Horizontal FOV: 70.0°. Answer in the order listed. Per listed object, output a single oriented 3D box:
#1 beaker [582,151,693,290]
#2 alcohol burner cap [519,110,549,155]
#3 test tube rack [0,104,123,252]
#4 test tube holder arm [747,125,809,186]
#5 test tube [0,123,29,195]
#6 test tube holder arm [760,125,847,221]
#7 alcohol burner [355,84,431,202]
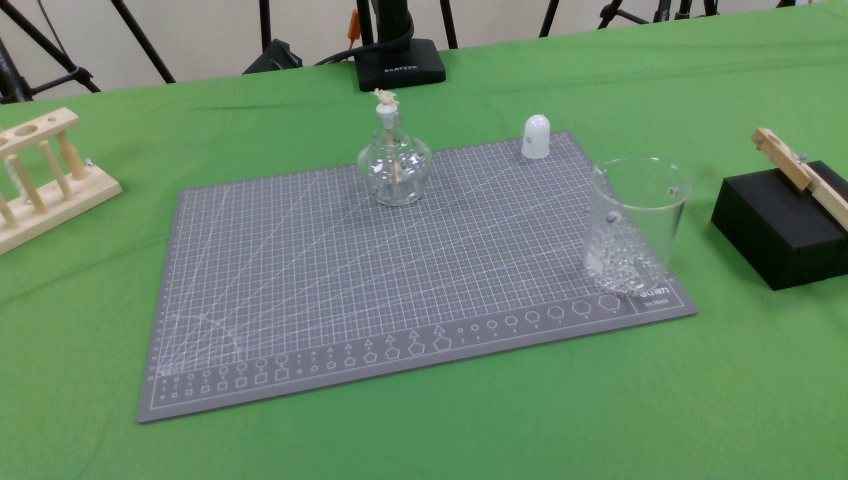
[{"bbox_3d":[0.170,-0.015,0.508,0.074,0.101,0.083,-31,48,-27],"label":"beaker"},{"bbox_3d":[0.123,-0.122,0.674,0.034,0.048,0.033,-2,42,2],"label":"alcohol burner cap"},{"bbox_3d":[-0.441,-0.039,0.598,0.066,0.086,0.242,29,52,32],"label":"test tube rack"},{"bbox_3d":[0.328,-0.079,0.559,0.010,0.015,0.087,-5,41,-9],"label":"test tube holder arm"},{"bbox_3d":[-0.424,-0.108,0.598,0.017,0.151,0.017,-1,40,1],"label":"test tube"},{"bbox_3d":[0.342,-0.051,0.527,0.013,0.015,0.176,-5,41,-10],"label":"test tube holder arm"},{"bbox_3d":[-0.033,-0.099,0.607,0.078,0.120,0.077,-4,41,3],"label":"alcohol burner"}]
